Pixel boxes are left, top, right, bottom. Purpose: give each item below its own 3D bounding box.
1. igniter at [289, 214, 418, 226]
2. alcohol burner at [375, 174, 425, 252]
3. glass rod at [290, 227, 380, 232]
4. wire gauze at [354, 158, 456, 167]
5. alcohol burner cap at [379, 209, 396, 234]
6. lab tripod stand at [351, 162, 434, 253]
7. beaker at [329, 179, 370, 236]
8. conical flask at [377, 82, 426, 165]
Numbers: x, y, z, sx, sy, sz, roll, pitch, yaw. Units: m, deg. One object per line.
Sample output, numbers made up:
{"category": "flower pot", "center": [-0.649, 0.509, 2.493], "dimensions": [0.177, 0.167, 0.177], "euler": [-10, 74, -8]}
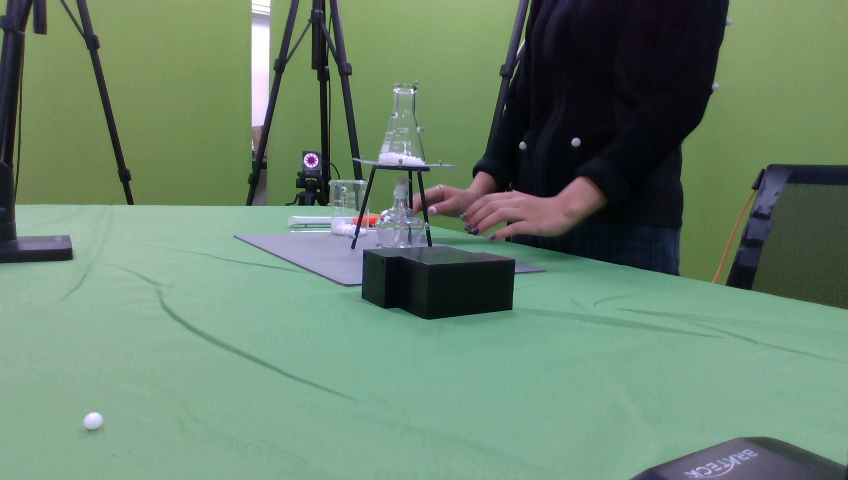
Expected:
{"category": "igniter", "center": [-0.141, -0.042, 1.258], "dimensions": [0.278, 0.025, 0.057], "euler": [-1, -2, -30]}
{"category": "alcohol burner", "center": [-0.036, -0.042, 0.934], "dimensions": [0.078, 0.119, 0.078], "euler": [1, 9, 0]}
{"category": "glass rod", "center": [-0.161, -0.022, 1.177], "dimensions": [0.201, 0.008, 0.008], "euler": [-2, 8, -28]}
{"category": "wire gauze", "center": [-0.030, -0.117, 0.927], "dimensions": [0.122, 0.011, 0.124], "euler": [0, 5, -36]}
{"category": "alcohol burner cap", "center": [-0.069, -0.036, 1.154], "dimensions": [0.034, 0.048, 0.034], "euler": [2, 7, 0]}
{"category": "lab tripod stand", "center": [-0.034, -0.052, 0.933], "dimensions": [0.148, 0.131, 0.148], "euler": [4, 7, 0]}
{"category": "beaker", "center": [-0.137, -0.061, 1.101], "dimensions": [0.084, 0.100, 0.074], "euler": [5, 7, 20]}
{"category": "conical flask", "center": [-0.032, -0.175, 0.918], "dimensions": [0.075, 0.122, 0.075], "euler": [3, 8, 0]}
